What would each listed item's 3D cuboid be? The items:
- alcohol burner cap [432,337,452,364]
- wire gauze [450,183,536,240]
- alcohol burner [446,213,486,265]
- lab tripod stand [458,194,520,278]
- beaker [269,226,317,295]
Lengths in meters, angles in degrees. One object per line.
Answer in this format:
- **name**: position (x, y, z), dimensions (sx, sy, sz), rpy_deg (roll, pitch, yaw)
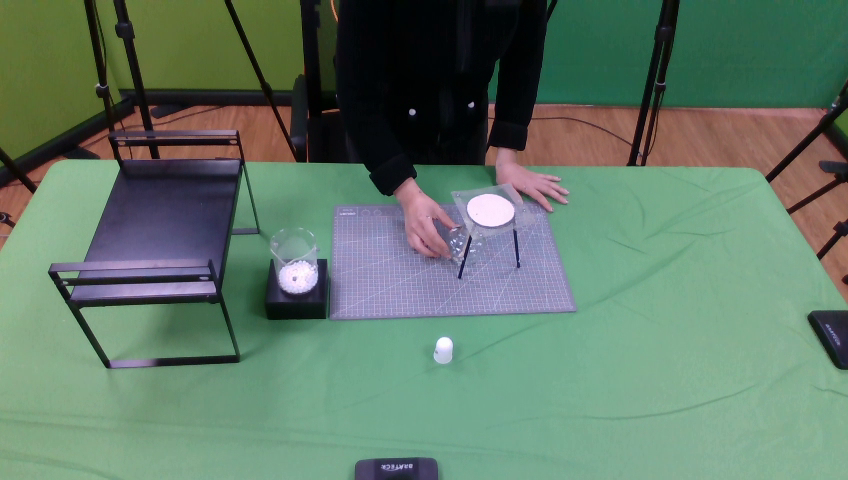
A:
- **alcohol burner cap**: position (0.032, 0.182, 1.011), dimensions (0.034, 0.048, 0.033), rpy_deg (4, 45, -4)
- **wire gauze**: position (0.122, -0.057, 1.087), dimensions (0.121, 0.011, 0.124), rpy_deg (-12, 47, -14)
- **alcohol burner**: position (0.081, -0.008, 1.144), dimensions (0.078, 0.119, 0.077), rpy_deg (3, 48, -3)
- **lab tripod stand**: position (0.115, -0.011, 1.135), dimensions (0.148, 0.132, 0.147), rpy_deg (1, 45, -1)
- **beaker**: position (-0.218, 0.040, 1.020), dimensions (0.074, 0.101, 0.083), rpy_deg (6, 47, 2)
